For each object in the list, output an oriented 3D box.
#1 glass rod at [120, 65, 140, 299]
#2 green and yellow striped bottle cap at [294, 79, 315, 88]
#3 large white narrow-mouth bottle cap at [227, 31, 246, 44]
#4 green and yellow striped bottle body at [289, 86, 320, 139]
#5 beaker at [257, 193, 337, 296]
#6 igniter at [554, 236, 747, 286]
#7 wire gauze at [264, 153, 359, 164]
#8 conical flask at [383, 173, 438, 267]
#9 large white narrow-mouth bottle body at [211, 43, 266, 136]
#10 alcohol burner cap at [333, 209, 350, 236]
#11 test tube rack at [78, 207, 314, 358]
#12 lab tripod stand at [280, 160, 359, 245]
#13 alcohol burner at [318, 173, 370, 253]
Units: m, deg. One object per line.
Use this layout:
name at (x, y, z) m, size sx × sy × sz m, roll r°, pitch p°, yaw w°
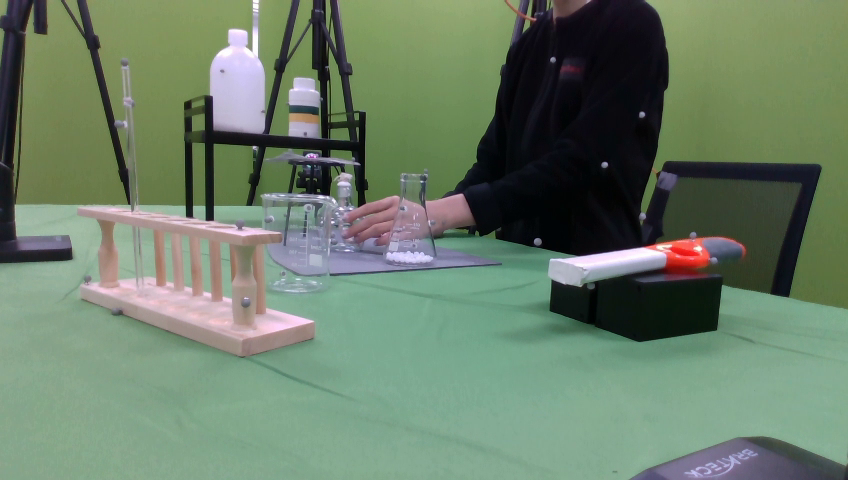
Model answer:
glass rod at (-0.249, -0.047, 0.513) m, size 0.008 × 0.199 × 0.008 m, roll -1°, pitch 4°, yaw 0°
green and yellow striped bottle cap at (-0.248, -0.323, 1.256) m, size 0.045 × 0.020 × 0.045 m, roll 3°, pitch 9°, yaw 0°
large white narrow-mouth bottle cap at (-0.361, -0.388, 1.166) m, size 0.038 × 0.024 × 0.037 m, roll 1°, pitch 7°, yaw 0°
green and yellow striped bottle body at (-0.250, -0.272, 1.261) m, size 0.063 × 0.119 × 0.063 m, roll 3°, pitch 7°, yaw 0°
beaker at (-0.130, 0.004, 0.628) m, size 0.084 × 0.100 × 0.074 m, roll 5°, pitch 8°, yaw 15°
igniter at (0.221, 0.017, 0.558) m, size 0.278 × 0.025 × 0.057 m, roll -5°, pitch 14°, yaw -39°
wire gauze at (-0.181, -0.129, 0.969) m, size 0.126 × 0.011 × 0.121 m, roll -1°, pitch 6°, yaw -27°
conical flask at (-0.016, -0.028, 0.808) m, size 0.075 × 0.122 × 0.075 m, roll 2°, pitch 7°, yaw 0°
large white narrow-mouth bottle body at (-0.361, -0.302, 1.176) m, size 0.102 × 0.194 × 0.102 m, roll 1°, pitch 7°, yaw 0°
alcohol burner cap at (-0.151, -0.033, 1.116) m, size 0.034 × 0.048 × 0.034 m, roll 3°, pitch 7°, yaw 0°
test tube rack at (-0.197, 0.024, 0.500) m, size 0.241 × 0.085 × 0.067 m, roll 8°, pitch 8°, yaw 37°
lab tripod stand at (-0.176, -0.062, 0.973) m, size 0.148 × 0.131 × 0.148 m, roll 1°, pitch 7°, yaw 0°
alcohol burner at (-0.120, -0.041, 0.908) m, size 0.078 × 0.119 × 0.078 m, roll 1°, pitch 6°, yaw 0°
